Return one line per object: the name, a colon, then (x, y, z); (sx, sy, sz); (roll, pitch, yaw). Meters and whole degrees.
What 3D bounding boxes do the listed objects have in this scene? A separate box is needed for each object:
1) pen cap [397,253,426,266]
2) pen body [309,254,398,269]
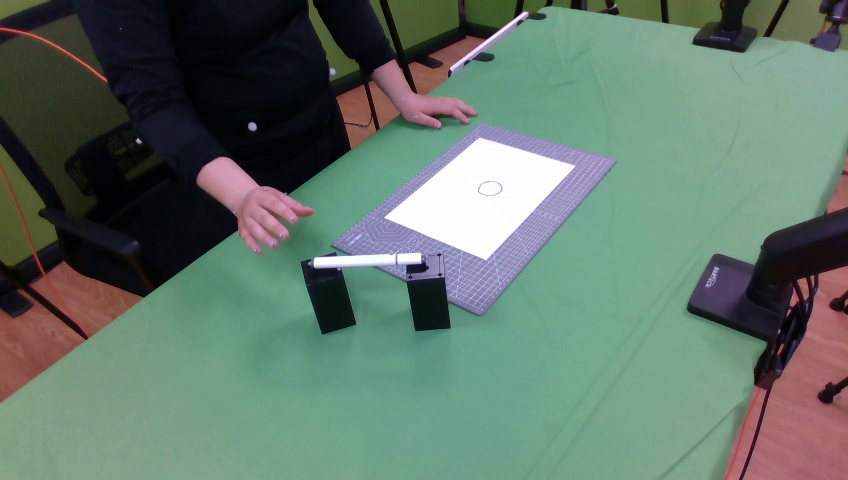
pen cap: (-0.016, 0.026, 0.791); (0.038, 0.017, 0.017); (-3, 40, 3)
pen body: (-0.079, 0.029, 0.797); (0.144, 0.017, 0.017); (-3, 40, 5)
